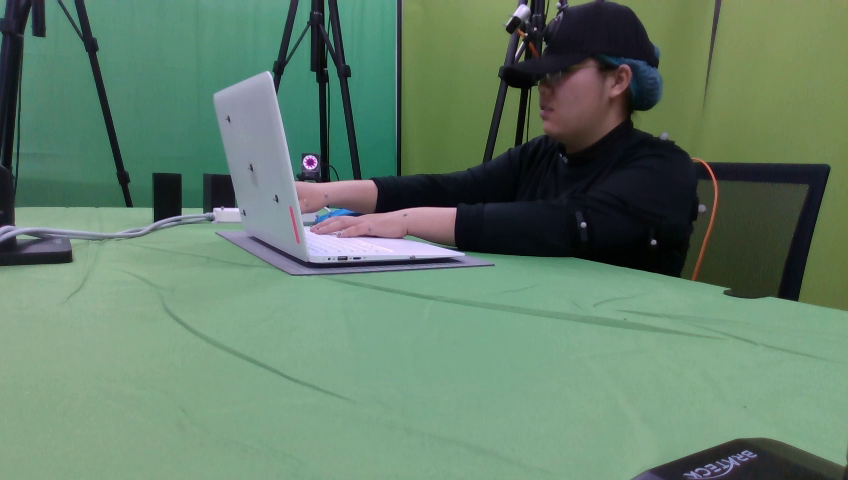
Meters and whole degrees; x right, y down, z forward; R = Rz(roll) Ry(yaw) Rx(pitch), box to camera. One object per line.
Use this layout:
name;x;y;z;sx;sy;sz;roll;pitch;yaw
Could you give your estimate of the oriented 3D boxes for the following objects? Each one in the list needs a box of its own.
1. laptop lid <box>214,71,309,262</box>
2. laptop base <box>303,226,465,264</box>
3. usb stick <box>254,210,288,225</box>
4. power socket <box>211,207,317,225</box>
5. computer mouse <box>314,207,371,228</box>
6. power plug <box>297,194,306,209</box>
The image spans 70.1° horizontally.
laptop lid;-0.245;-0.105;0.870;0.013;0.241;0.355;-15;16;-27
laptop base;-0.125;0.007;0.955;0.237;0.023;0.352;3;6;-30
usb stick;-0.283;-0.041;1.117;0.059;0.027;0.021;-1;8;-33
power socket;-0.334;-0.051;1.281;0.228;0.032;0.072;-1;9;-28
computer mouse;-0.174;-0.047;1.292;0.118;0.041;0.062;-8;13;-34
power plug;-0.282;-0.076;1.340;0.035;0.052;0.072;4;5;-19
